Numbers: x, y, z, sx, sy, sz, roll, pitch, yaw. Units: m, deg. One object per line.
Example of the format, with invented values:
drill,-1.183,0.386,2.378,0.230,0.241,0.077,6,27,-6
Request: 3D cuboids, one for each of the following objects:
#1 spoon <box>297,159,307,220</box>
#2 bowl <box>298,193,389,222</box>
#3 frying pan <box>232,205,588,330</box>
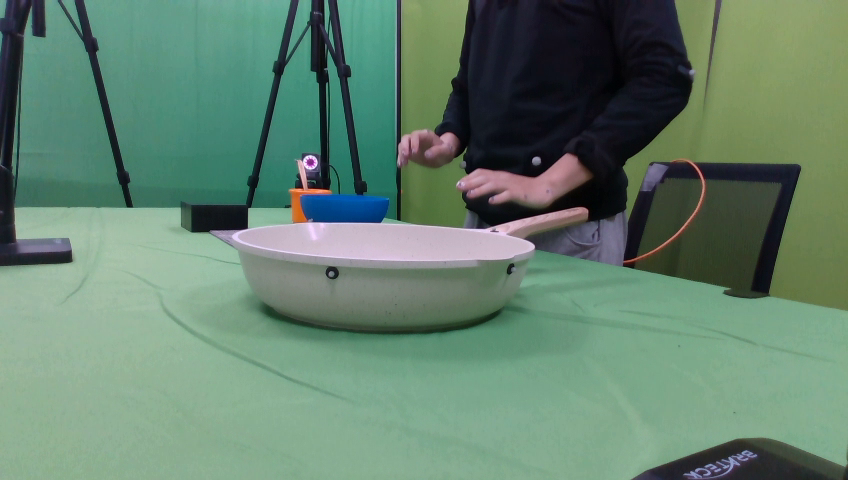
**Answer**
spoon,-0.264,-0.114,1.338,0.042,0.193,0.021,0,-37,-21
bowl,-0.136,-0.037,1.018,0.151,0.077,0.151,2,7,0
frying pan,0.039,0.005,0.670,0.490,0.102,0.305,-15,17,-39
